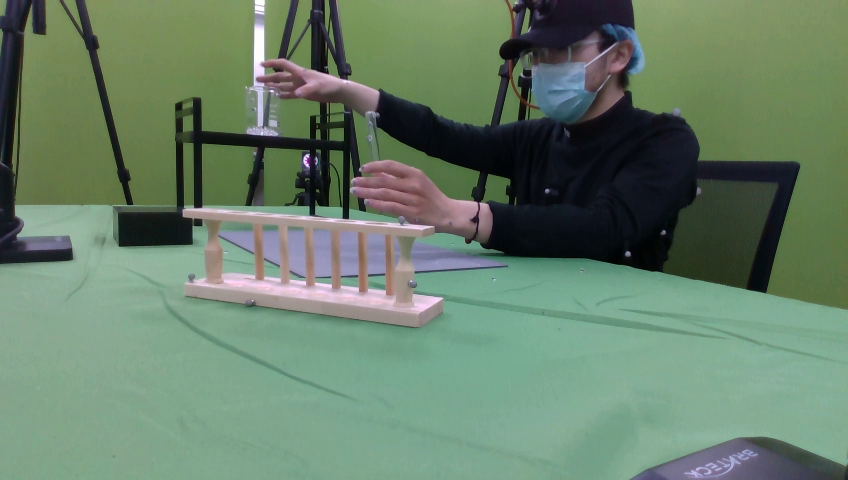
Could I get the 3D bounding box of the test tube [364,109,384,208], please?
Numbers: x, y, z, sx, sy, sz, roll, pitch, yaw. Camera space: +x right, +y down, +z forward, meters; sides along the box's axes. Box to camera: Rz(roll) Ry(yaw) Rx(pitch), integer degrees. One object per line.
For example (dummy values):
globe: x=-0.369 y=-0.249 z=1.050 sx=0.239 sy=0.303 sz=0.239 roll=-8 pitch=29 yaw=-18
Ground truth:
test tube: x=-0.075 y=-0.123 z=0.920 sx=0.017 sy=0.150 sz=0.017 roll=-6 pitch=5 yaw=1

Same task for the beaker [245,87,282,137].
beaker: x=-0.337 y=-0.266 z=1.260 sx=0.074 sy=0.100 sz=0.084 roll=5 pitch=8 yaw=23

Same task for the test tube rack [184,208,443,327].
test tube rack: x=-0.106 y=0.019 z=0.570 sx=0.241 sy=0.085 sz=0.067 roll=5 pitch=7 yaw=20
